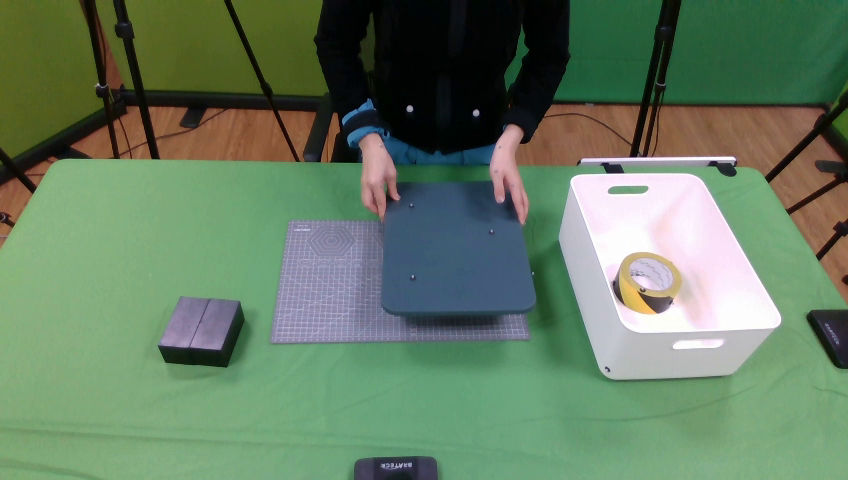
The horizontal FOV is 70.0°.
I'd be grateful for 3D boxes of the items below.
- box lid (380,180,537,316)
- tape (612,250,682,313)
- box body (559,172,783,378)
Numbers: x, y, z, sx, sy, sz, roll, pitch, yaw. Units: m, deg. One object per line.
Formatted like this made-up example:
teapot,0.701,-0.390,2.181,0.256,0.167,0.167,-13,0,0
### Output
box lid,0.055,0.001,1.120,0.263,0.015,0.369,-1,41,0
tape,0.412,0.076,1.123,0.117,0.053,0.116,4,48,-4
box body,0.405,0.057,1.074,0.254,0.161,0.361,-2,46,-5
